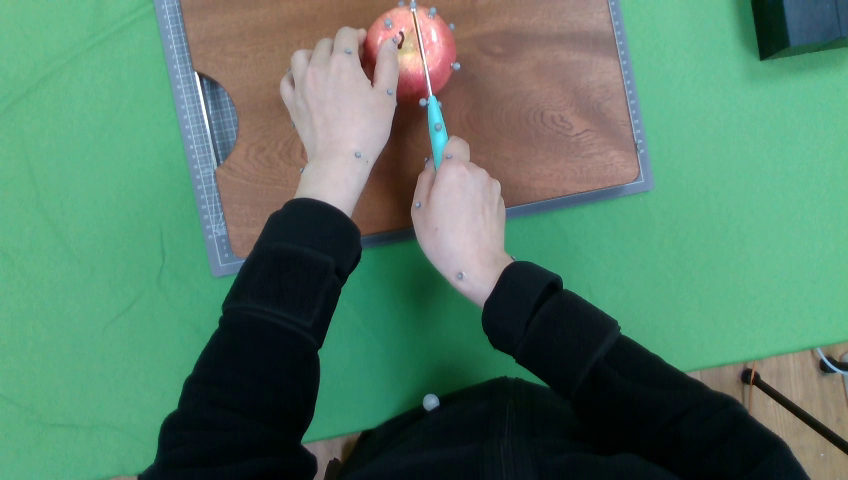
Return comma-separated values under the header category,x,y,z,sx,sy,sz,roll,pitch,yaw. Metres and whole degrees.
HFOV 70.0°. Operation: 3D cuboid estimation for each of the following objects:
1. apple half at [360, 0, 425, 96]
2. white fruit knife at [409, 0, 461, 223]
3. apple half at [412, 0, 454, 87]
category,x,y,z,sx,sy,sz,roll,pitch,yaw
apple half,-0.029,-0.167,0.539,0.053,0.074,0.081,-12,96,3
white fruit knife,0.005,-0.117,0.511,0.016,0.027,0.207,-11,89,-5
apple half,0.010,-0.175,0.539,0.033,0.081,0.081,-12,91,-1
